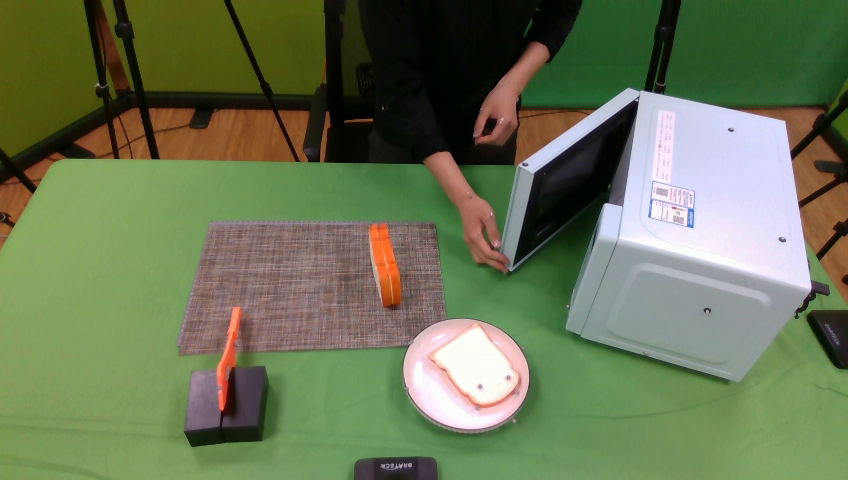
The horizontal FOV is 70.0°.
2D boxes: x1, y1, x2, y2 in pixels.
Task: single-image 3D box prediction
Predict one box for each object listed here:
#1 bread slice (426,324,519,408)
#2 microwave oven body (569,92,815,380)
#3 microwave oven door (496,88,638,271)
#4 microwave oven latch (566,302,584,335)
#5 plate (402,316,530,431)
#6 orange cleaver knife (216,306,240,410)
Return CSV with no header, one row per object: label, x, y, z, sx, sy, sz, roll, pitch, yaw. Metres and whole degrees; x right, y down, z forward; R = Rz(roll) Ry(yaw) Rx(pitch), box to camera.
bread slice,0.087,0.208,0.989,0.107,0.018,0.133,-32,57,-26
microwave oven body,0.468,-0.022,1.082,0.325,0.261,0.440,15,46,11
microwave oven door,0.279,-0.121,1.157,0.039,0.245,0.355,36,54,27
microwave oven latch,0.268,0.126,1.059,0.030,0.029,0.079,16,46,12
plate,0.066,0.217,0.982,0.208,0.039,0.206,2,46,-2
orange cleaver knife,-0.307,0.180,0.957,0.012,0.077,0.210,-2,25,-8
